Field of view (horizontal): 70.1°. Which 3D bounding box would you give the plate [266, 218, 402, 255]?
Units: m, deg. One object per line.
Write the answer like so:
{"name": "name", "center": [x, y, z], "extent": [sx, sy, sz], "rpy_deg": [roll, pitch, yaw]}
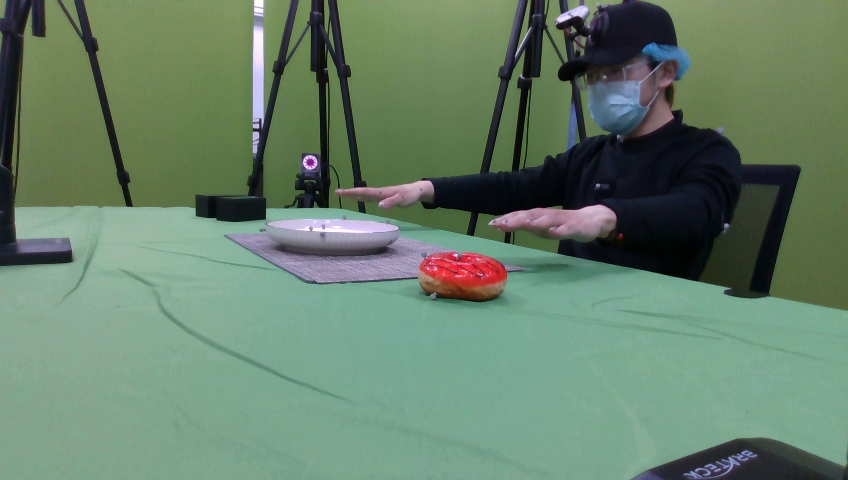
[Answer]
{"name": "plate", "center": [-0.138, -0.006, 0.941], "extent": [0.208, 0.039, 0.207], "rpy_deg": [2, 7, 0]}

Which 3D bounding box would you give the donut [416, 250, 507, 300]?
{"name": "donut", "center": [0.041, 0.038, 0.650], "extent": [0.099, 0.048, 0.099], "rpy_deg": [4, 9, 0]}

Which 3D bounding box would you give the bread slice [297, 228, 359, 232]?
{"name": "bread slice", "center": [-0.142, -0.004, 0.939], "extent": [0.131, 0.019, 0.105], "rpy_deg": [8, 8, 33]}
